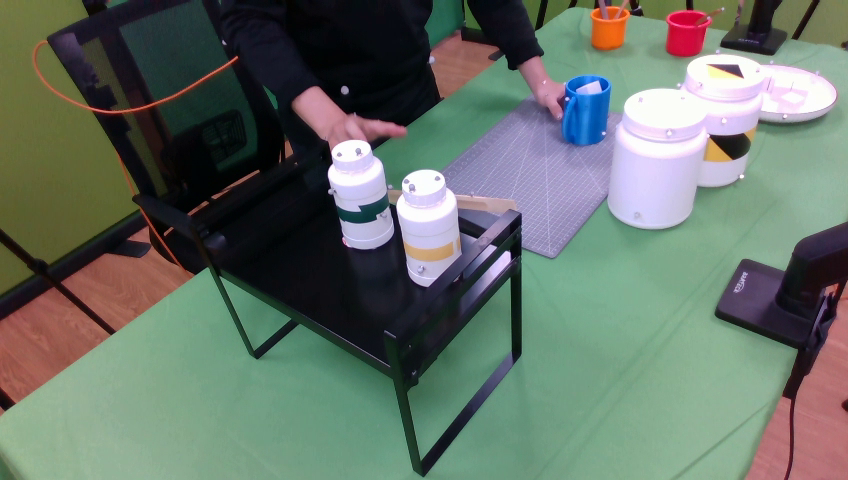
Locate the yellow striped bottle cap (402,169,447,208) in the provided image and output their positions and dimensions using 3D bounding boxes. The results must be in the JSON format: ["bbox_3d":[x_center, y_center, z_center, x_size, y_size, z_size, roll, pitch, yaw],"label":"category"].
[{"bbox_3d":[0.000,-0.052,0.605,0.044,0.019,0.044,-5,42,5],"label":"yellow striped bottle cap"}]

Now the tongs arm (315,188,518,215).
[{"bbox_3d":[-0.028,-0.059,0.988,0.382,0.027,0.051,9,45,36],"label":"tongs arm"}]

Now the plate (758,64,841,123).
[{"bbox_3d":[0.694,-0.283,1.189,0.207,0.039,0.206,-4,40,4],"label":"plate"}]

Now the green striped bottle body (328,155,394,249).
[{"bbox_3d":[-0.073,-0.053,0.699,0.063,0.120,0.063,-4,41,4],"label":"green striped bottle body"}]

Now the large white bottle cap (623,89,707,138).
[{"bbox_3d":[0.352,-0.187,0.886,0.115,0.018,0.114,-4,41,4],"label":"large white bottle cap"}]

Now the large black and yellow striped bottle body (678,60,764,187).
[{"bbox_3d":[0.482,-0.196,1.008,0.131,0.185,0.130,-4,41,4],"label":"large black and yellow striped bottle body"}]

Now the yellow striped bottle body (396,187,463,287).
[{"bbox_3d":[0.006,-0.013,0.638,0.063,0.121,0.062,-5,41,5],"label":"yellow striped bottle body"}]

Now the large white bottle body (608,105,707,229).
[{"bbox_3d":[0.361,-0.124,0.941,0.130,0.185,0.130,-5,41,4],"label":"large white bottle body"}]

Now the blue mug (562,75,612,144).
[{"bbox_3d":[0.298,-0.239,1.143,0.117,0.106,0.081,-37,49,-29],"label":"blue mug"}]

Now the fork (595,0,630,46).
[{"bbox_3d":[0.480,-0.556,1.453,0.028,0.019,0.207,41,103,40],"label":"fork"}]

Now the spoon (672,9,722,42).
[{"bbox_3d":[0.606,-0.476,1.345,0.042,0.021,0.193,-6,-3,-2],"label":"spoon"}]

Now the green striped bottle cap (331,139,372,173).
[{"bbox_3d":[-0.080,-0.093,0.666,0.044,0.020,0.044,-4,42,4],"label":"green striped bottle cap"}]

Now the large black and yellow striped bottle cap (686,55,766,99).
[{"bbox_3d":[0.474,-0.258,0.952,0.115,0.019,0.114,-5,41,5],"label":"large black and yellow striped bottle cap"}]

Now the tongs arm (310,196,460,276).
[{"bbox_3d":[-0.078,-0.011,0.944,0.028,0.028,0.384,-43,39,-23],"label":"tongs arm"}]

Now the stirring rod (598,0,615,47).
[{"bbox_3d":[0.437,-0.551,1.462,0.014,0.006,0.175,-11,83,1],"label":"stirring rod"}]
